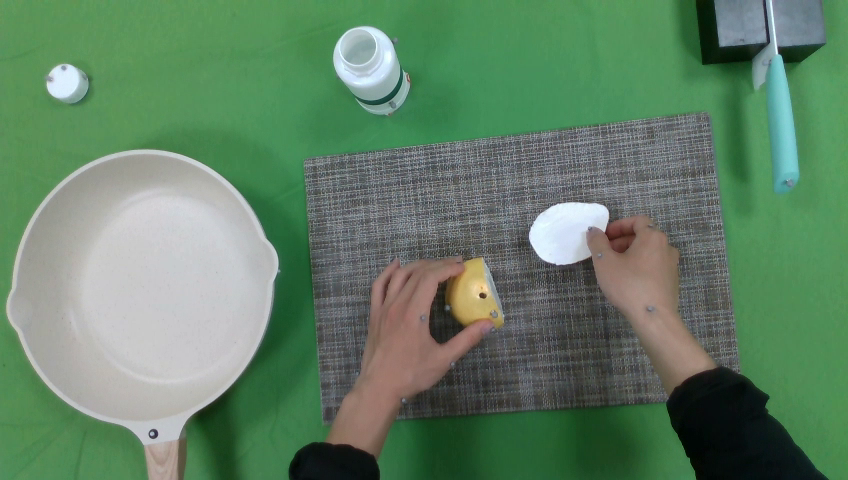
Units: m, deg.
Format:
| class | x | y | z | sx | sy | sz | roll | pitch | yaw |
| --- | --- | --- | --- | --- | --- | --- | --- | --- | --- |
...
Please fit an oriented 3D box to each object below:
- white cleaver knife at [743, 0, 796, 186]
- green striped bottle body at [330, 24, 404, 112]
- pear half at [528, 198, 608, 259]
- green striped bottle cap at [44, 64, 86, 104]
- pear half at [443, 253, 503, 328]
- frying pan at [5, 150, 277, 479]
| class | x | y | z | sx | sy | sz | roll | pitch | yaw |
| --- | --- | --- | --- | --- | --- | --- | --- | --- | --- |
| white cleaver knife | 0.348 | -0.196 | 0.620 | 0.021 | 0.066 | 0.285 | -4 | 84 | 12 |
| green striped bottle body | -0.059 | -0.181 | 0.635 | 0.063 | 0.119 | 0.063 | 0 | 86 | 6 |
| pear half | 0.154 | -0.010 | 0.643 | 0.088 | 0.031 | 0.070 | -29 | 67 | -8 |
| green striped bottle cap | -0.429 | -0.187 | 0.724 | 0.044 | 0.020 | 0.044 | 0 | 86 | 7 |
| pear half | 0.047 | 0.054 | 0.612 | 0.056 | 0.110 | 0.076 | -24 | 82 | 3 |
| frying pan | -0.283 | 0.149 | 0.648 | 0.306 | 0.103 | 0.485 | -11 | 77 | 6 |
